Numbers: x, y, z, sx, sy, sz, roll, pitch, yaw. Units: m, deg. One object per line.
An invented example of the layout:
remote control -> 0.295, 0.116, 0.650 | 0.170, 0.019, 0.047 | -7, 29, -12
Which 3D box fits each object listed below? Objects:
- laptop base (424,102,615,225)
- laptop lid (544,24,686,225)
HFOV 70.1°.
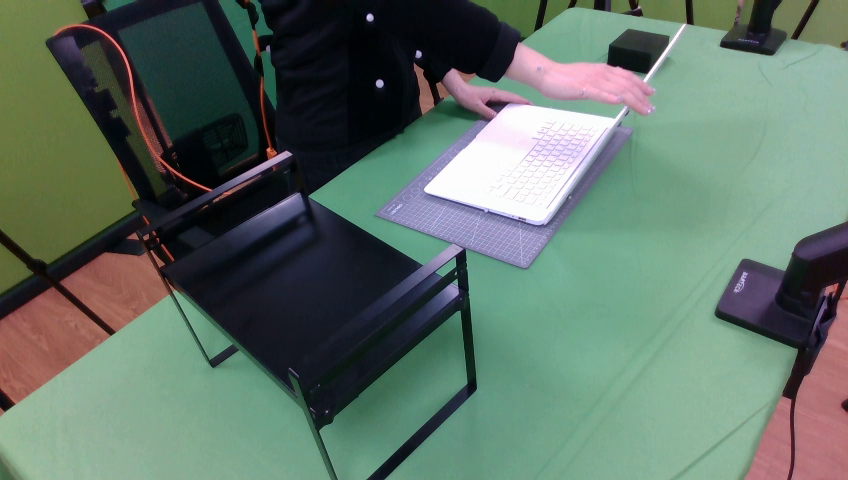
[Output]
laptop base -> 0.188, -0.156, 1.131 | 0.234, 0.023, 0.355 | 16, 46, 30
laptop lid -> 0.315, -0.190, 0.987 | 0.013, 0.241, 0.357 | 35, 51, 9
